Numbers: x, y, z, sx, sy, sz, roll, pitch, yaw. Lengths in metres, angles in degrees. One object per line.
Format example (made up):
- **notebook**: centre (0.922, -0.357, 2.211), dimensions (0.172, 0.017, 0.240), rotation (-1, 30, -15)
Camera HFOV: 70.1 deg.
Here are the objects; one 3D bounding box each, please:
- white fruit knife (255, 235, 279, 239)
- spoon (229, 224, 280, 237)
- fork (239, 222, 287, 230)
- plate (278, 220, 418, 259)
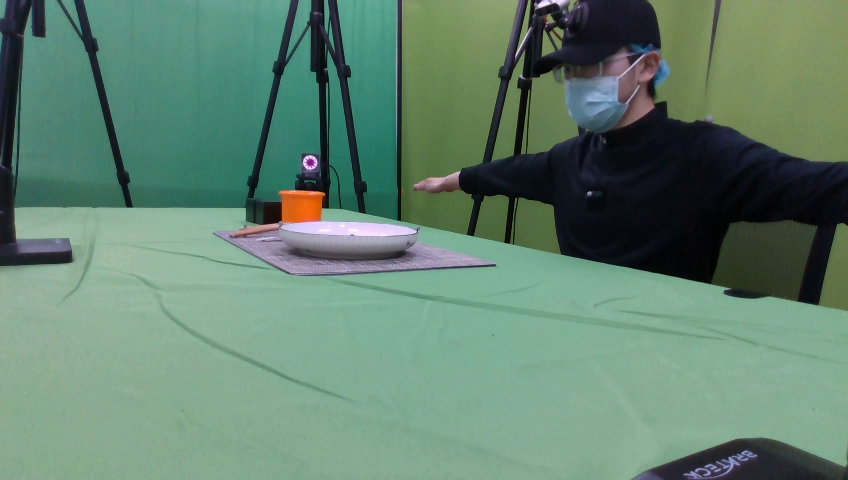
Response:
- **white fruit knife**: centre (-0.197, -0.012, 1.047), dimensions (0.208, 0.016, 0.027), rotation (-6, -2, -44)
- **spoon**: centre (-0.248, -0.020, 1.071), dimensions (0.195, 0.021, 0.041), rotation (-3, 24, -36)
- **fork**: centre (-0.241, -0.025, 1.125), dimensions (0.208, 0.018, 0.028), rotation (-1, 16, -35)
- **plate**: centre (-0.114, -0.002, 0.914), dimensions (0.209, 0.038, 0.209), rotation (2, 7, 0)
